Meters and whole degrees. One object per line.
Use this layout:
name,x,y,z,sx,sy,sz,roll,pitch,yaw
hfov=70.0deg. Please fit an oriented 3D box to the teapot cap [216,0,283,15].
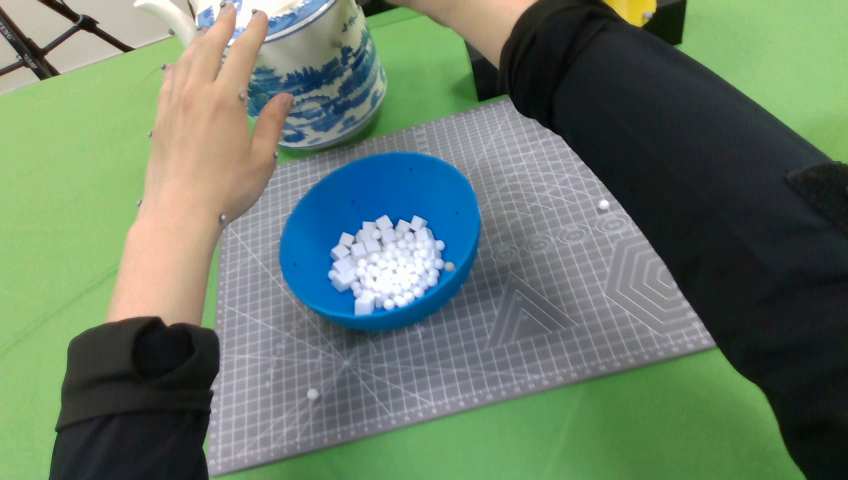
teapot cap,-0.143,-0.225,0.524,0.085,0.044,0.084,-9,55,13

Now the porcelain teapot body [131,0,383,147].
porcelain teapot body,-0.161,-0.201,0.562,0.205,0.228,0.144,-5,55,13

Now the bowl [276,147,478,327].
bowl,-0.027,0.010,0.463,0.151,0.077,0.150,-7,53,10

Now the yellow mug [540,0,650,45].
yellow mug,0.145,-0.227,0.532,0.099,0.064,0.130,14,62,24
